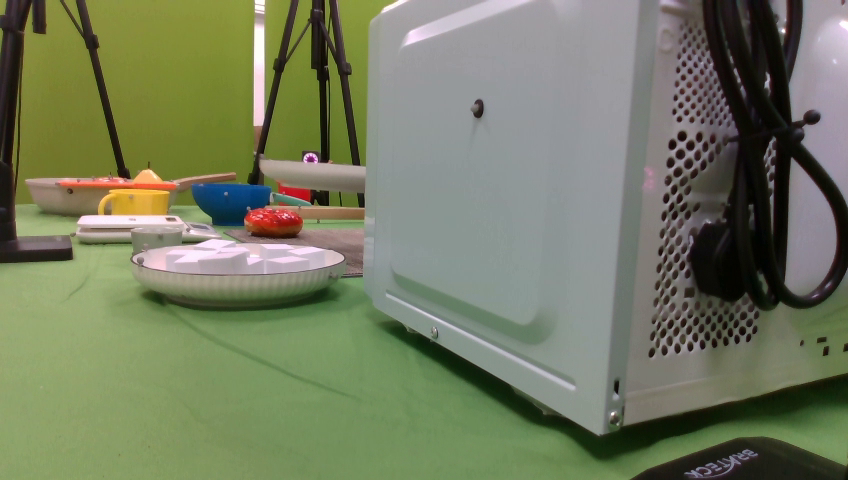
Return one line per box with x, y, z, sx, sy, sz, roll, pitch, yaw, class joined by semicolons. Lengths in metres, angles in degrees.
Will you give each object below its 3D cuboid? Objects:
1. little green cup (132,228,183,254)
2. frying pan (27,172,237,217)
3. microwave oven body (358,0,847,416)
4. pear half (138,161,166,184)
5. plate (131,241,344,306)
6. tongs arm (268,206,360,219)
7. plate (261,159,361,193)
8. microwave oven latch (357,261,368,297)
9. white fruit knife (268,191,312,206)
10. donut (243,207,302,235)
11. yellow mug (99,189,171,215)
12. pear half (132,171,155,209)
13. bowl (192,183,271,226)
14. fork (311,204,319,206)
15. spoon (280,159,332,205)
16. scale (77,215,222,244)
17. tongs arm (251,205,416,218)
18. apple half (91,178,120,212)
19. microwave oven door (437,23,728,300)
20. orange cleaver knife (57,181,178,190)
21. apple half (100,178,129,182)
-0.342;0.006;0.779;0.061;0.038;0.061;2;8;0;little green cup
-0.624;-0.118;1.387;0.305;0.102;0.490;8;17;32;frying pan
0.211;-0.047;0.475;0.444;0.260;0.324;-1;7;-28;microwave oven body
-0.602;-0.120;1.354;0.056;0.110;0.076;4;11;5;pear half
-0.187;0.033;0.625;0.208;0.039;0.207;2;8;0;plate
-0.173;-0.061;1.362;0.387;0.026;0.050;-1;3;-31;tongs arm
-0.133;-0.092;0.890;0.209;0.038;0.209;4;6;0;plate
-0.019;0.033;0.531;0.079;0.029;0.030;-1;7;-27;microwave oven latch
-0.364;-0.105;1.464;0.208;0.027;0.016;15;0;-34;white fruit knife
-0.261;-0.032;1.043;0.099;0.048;0.099;4;9;0;donut
-0.519;-0.055;1.080;0.099;0.064;0.131;7;10;26;yellow mug
-0.636;-0.113;1.362;0.031;0.088;0.070;3;13;1;pear half
-0.382;-0.071;1.202;0.151;0.077;0.151;3;7;0;bowl
-0.356;-0.105;1.526;0.208;0.018;0.028;16;-5;-41;fork
-0.316;-0.159;1.640;0.194;0.022;0.041;-50;32;-20;spoon
-0.434;-0.019;0.963;0.202;0.031;0.148;-1;9;-27;scale
-0.210;-0.067;1.440;0.389;0.027;0.028;0;-1;-17;tongs arm
-0.677;-0.096;1.271;0.033;0.081;0.081;7;8;10;apple half
0.180;-0.072;0.621;0.358;0.243;0.039;-2;8;-29;microwave oven door
-0.600;-0.109;1.189;0.212;0.012;0.077;-1;11;-26;orange cleaver knife
-0.638;-0.092;1.265;0.053;0.074;0.081;7;5;10;apple half
